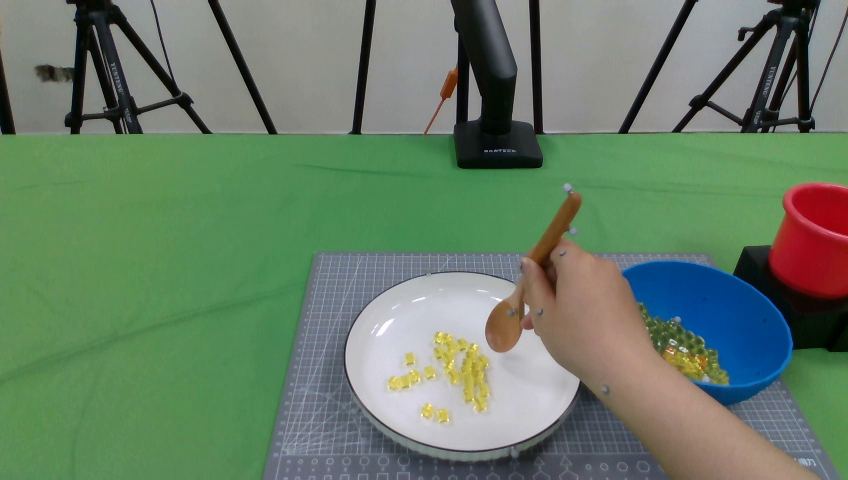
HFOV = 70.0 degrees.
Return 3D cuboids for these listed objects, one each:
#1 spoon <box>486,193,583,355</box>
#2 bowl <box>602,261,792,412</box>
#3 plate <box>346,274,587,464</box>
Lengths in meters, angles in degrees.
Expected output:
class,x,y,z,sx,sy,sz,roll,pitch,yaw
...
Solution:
class,x,y,z,sx,sy,sz,roll,pitch,yaw
spoon,0.082,0.033,0.473,0.022,0.195,0.041,-9,55,-18
bowl,0.225,0.095,0.528,0.151,0.077,0.150,1,38,0
plate,0.036,0.110,0.538,0.208,0.039,0.205,1,37,0
